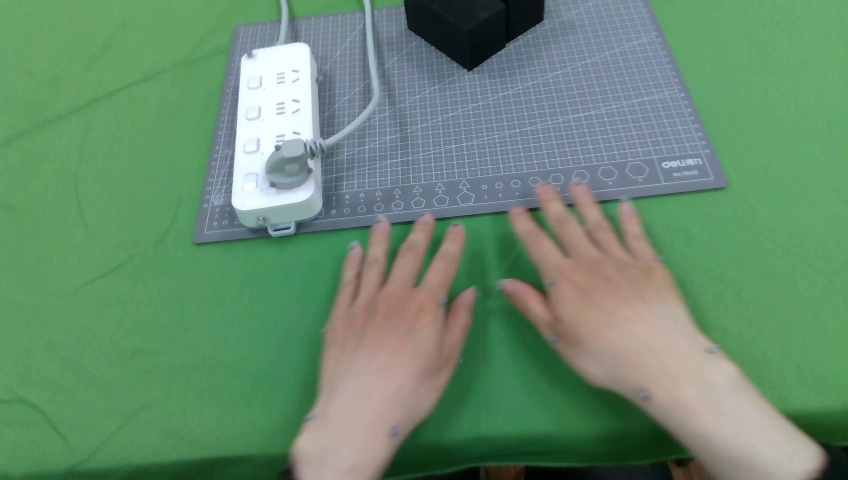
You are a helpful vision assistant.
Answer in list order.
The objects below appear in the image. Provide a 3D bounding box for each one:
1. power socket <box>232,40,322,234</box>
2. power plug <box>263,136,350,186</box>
[{"bbox_3d":[-0.134,-0.106,0.562,0.072,0.033,0.224,-8,56,1],"label":"power socket"},{"bbox_3d":[-0.098,-0.060,0.505,0.072,0.053,0.035,4,56,3],"label":"power plug"}]
